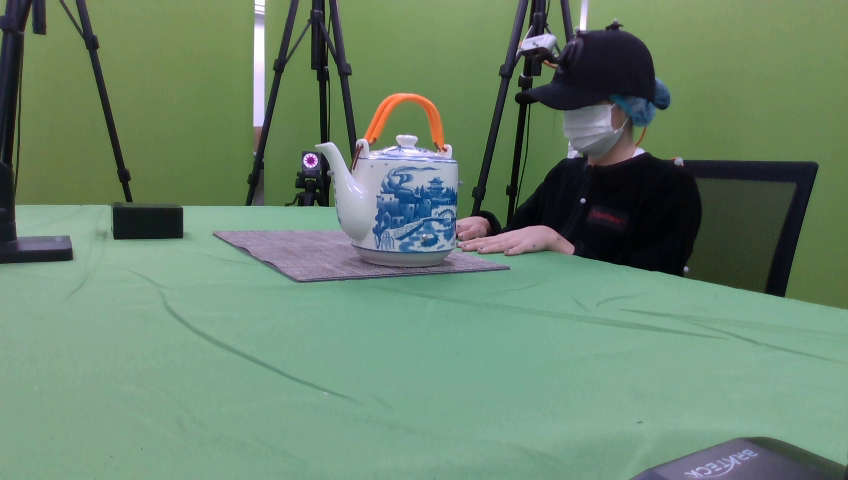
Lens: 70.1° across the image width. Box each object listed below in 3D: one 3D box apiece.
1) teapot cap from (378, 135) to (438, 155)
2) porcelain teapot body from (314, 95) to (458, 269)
[{"bbox_3d":[-0.023,-0.119,0.812,0.085,0.044,0.085,3,9,0],"label":"teapot cap"},{"bbox_3d":[-0.049,-0.079,0.800,0.206,0.225,0.144,-3,9,-37],"label":"porcelain teapot body"}]
